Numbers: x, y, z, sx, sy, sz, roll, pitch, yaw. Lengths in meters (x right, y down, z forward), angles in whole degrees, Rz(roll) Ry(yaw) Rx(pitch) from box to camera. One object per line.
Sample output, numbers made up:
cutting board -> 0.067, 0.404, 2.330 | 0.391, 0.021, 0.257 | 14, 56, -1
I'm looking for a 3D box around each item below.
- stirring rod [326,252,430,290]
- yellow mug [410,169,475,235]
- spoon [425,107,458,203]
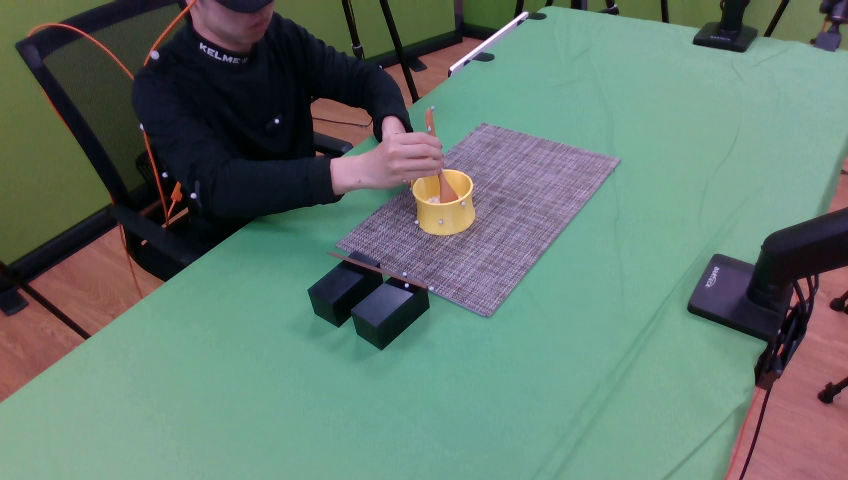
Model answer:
stirring rod -> -0.068, 0.043, 0.859 | 0.175, 0.006, 0.014 | 17, 11, 26
yellow mug -> 0.022, -0.070, 1.007 | 0.129, 0.064, 0.100 | 29, 52, 36
spoon -> 0.024, -0.116, 0.952 | 0.042, 0.194, 0.021 | -29, 30, -23
